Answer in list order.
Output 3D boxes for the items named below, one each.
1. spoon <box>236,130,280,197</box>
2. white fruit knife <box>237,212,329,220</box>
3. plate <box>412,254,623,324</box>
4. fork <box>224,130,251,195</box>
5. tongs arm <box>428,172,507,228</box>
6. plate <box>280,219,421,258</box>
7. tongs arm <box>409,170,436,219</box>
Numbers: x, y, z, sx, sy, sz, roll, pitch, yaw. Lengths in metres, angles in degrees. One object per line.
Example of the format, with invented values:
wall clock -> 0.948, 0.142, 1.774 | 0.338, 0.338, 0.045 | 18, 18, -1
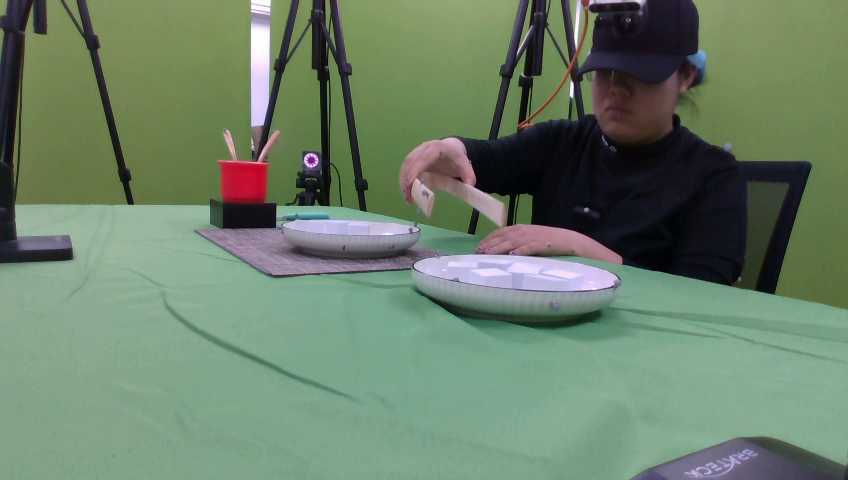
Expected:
spoon -> -0.321, -0.154, 1.192 | 0.041, 0.193, 0.022 | 0, -37, 19
white fruit knife -> -0.304, -0.050, 1.328 | 0.208, 0.016, 0.027 | -3, -19, -29
plate -> 0.090, 0.047, 0.609 | 0.209, 0.038, 0.209 | 2, 7, 0
fork -> -0.372, -0.155, 1.193 | 0.028, 0.018, 0.206 | -17, 54, -13
tongs arm -> 0.051, -0.061, 0.810 | 0.028, 0.028, 0.386 | 2, 11, -9
plate -> -0.108, -0.002, 0.902 | 0.208, 0.039, 0.207 | 3, 7, 0
tongs arm -> 0.007, -0.067, 0.804 | 0.051, 0.026, 0.384 | 6, 10, -8
